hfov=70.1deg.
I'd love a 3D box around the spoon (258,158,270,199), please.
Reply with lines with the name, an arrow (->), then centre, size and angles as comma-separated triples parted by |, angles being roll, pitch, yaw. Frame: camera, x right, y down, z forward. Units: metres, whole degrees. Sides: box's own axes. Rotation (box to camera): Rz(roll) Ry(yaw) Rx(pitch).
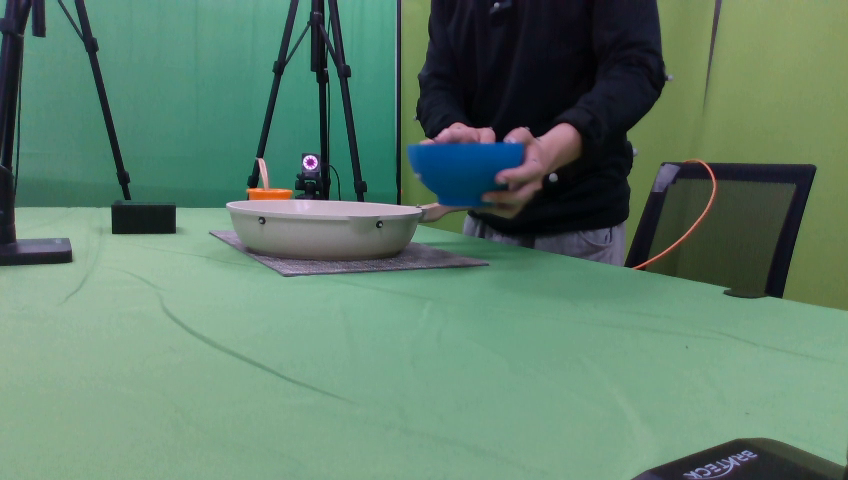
spoon -> -0.332, -0.107, 1.269 | 0.042, 0.021, 0.193 | 1, 52, -24

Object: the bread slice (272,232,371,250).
bread slice -> -0.148, 0.001, 0.929 | 0.133, 0.018, 0.107 | 5, 7, 38

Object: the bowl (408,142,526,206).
bowl -> 0.055, -0.085, 0.775 | 0.151, 0.077, 0.151 | -1, 8, 1

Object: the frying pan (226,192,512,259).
frying pan -> -0.058, -0.041, 0.975 | 0.490, 0.102, 0.305 | -11, 13, -26
